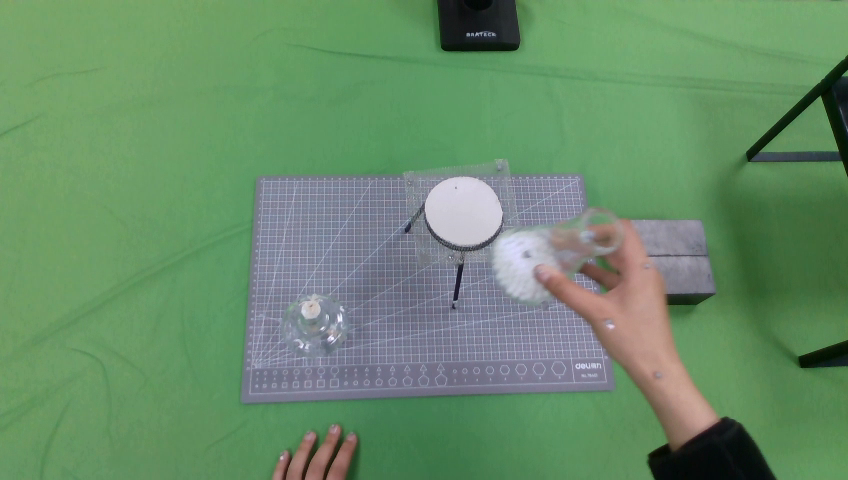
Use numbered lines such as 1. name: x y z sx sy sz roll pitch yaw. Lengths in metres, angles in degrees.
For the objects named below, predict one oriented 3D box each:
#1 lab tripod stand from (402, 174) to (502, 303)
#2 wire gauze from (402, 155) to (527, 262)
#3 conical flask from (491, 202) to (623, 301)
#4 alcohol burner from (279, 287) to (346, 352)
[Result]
1. lab tripod stand: 0.042 -0.013 0.733 0.148 0.132 0.147 2 67 -4
2. wire gauze: 0.044 -0.035 0.670 0.125 0.011 0.120 -5 70 -7
3. conical flask: 0.114 0.004 0.506 0.076 0.122 0.075 6 72 -20
4. alcohol burner: -0.129 0.087 0.693 0.078 0.120 0.077 2 67 -5
